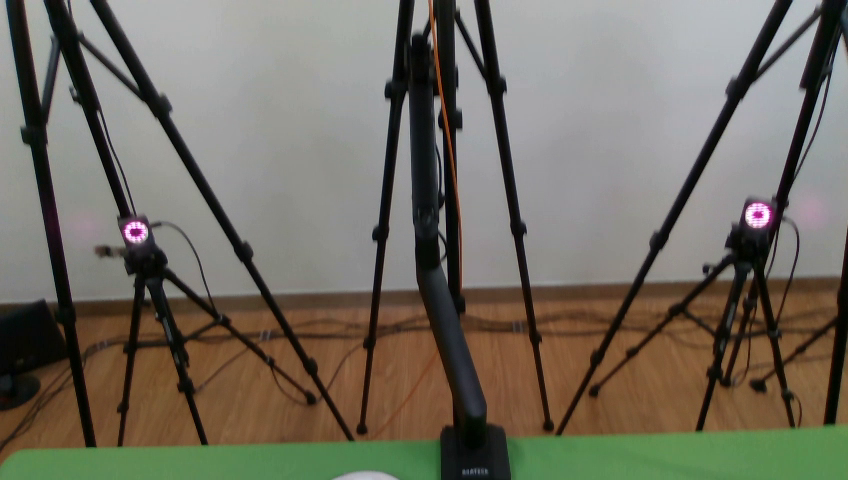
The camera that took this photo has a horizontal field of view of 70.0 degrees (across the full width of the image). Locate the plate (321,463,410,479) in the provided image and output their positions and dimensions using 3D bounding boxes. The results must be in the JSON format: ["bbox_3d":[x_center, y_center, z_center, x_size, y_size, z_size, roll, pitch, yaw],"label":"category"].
[{"bbox_3d":[-0.100,0.452,0.959,0.207,0.039,0.205,-2,34,2],"label":"plate"}]
